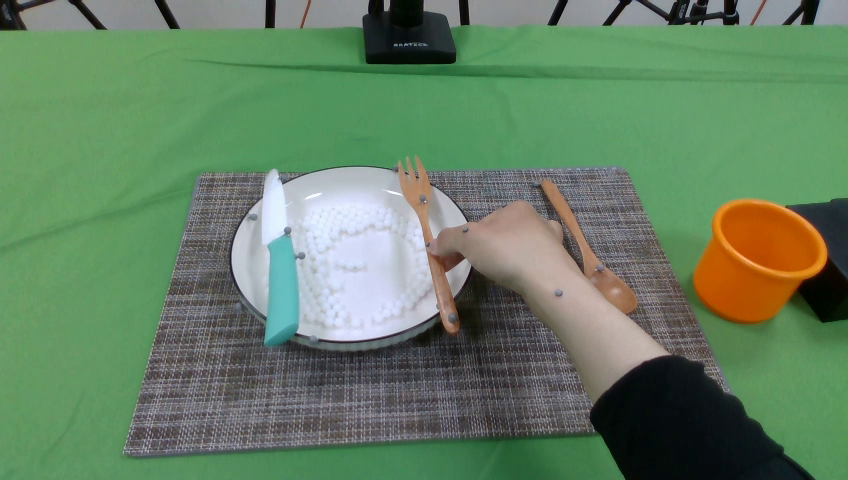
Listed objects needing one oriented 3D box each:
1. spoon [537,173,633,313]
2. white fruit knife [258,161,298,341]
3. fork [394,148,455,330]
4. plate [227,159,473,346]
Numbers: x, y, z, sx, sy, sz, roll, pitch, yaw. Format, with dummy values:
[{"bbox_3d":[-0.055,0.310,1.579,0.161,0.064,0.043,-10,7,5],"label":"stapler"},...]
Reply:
[{"bbox_3d":[0.143,-0.006,0.567,0.041,0.022,0.191,-18,49,3],"label":"spoon"},{"bbox_3d":[-0.124,-0.003,0.505,0.027,0.016,0.205,-9,47,-9],"label":"white fruit knife"},{"bbox_3d":[0.000,-0.009,0.521,0.028,0.019,0.205,-11,47,-3],"label":"fork"},{"bbox_3d":[-0.061,0.008,0.530,0.209,0.038,0.207,2,47,-2],"label":"plate"}]
